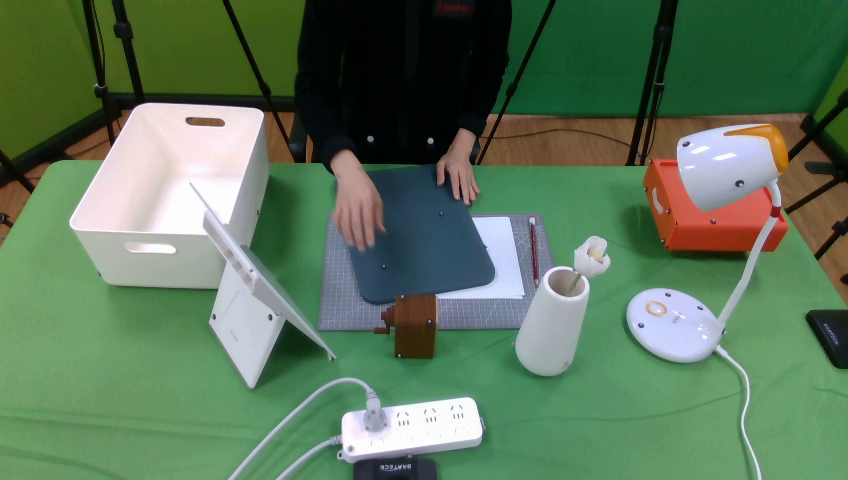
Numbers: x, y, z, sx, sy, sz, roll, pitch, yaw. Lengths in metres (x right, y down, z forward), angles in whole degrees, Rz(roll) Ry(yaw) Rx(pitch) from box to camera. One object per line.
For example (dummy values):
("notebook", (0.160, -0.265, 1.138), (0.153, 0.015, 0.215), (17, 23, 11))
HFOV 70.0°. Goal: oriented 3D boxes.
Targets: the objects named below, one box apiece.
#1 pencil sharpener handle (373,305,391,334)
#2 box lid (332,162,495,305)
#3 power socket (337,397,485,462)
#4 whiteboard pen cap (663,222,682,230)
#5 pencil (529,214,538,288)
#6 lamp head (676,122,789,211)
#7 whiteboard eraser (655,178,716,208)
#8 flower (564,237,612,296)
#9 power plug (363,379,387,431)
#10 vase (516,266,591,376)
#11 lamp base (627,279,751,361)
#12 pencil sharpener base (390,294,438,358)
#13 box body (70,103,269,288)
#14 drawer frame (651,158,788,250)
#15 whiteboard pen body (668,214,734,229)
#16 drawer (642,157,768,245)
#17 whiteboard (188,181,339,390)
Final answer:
("pencil sharpener handle", (-0.069, 0.133, 0.989), (0.030, 0.068, 0.036), (1, 47, -2))
("box lid", (-0.031, -0.028, 1.227), (0.264, 0.015, 0.369), (-9, 47, -13))
("power socket", (-0.018, 0.285, 0.915), (0.227, 0.033, 0.071), (-5, 46, -8))
("whiteboard pen cap", (0.487, -0.027, 1.188), (0.033, 0.018, 0.018), (0, 46, -16))
("pencil", (0.218, 0.019, 1.202), (0.012, 0.012, 0.193), (5, 47, 1))
("lamp head", (0.423, -0.104, 0.819), (0.122, 0.113, 0.112), (-13, 33, 40))
("whiteboard eraser", (0.538, -0.095, 1.251), (0.113, 0.042, 0.055), (4, 52, -10))
("flower", (0.206, 0.088, 0.893), (0.038, 0.363, 0.044), (-17, 67, -9))
("power plug", (-0.072, 0.252, 0.910), (0.035, 0.053, 0.072), (3, 45, -1))
("vase", (0.208, 0.132, 0.964), (0.098, 0.201, 0.097), (3, 46, -3))
("lamp base", (0.459, 0.100, 1.027), (0.178, 0.181, 0.160), (27, 51, 17))
("pencil sharpener base", (-0.018, 0.143, 1.000), (0.077, 0.107, 0.061), (1, 46, -2))
("box body", (-0.450, -0.087, 1.148), (0.254, 0.161, 0.361), (2, 46, -2))
("drawer frame", (0.571, -0.074, 1.213), (0.214, 0.083, 0.200), (1, 46, 0))
("whiteboard pen body", (0.547, -0.035, 1.200), (0.141, 0.017, 0.017), (-8, 48, -9))
("drawer", (0.564, -0.075, 1.210), (0.212, 0.073, 0.193), (3, 45, -1))
("whiteboard", (-0.292, 0.096, 0.929), (0.144, 0.307, 0.216), (-38, 57, -11))
